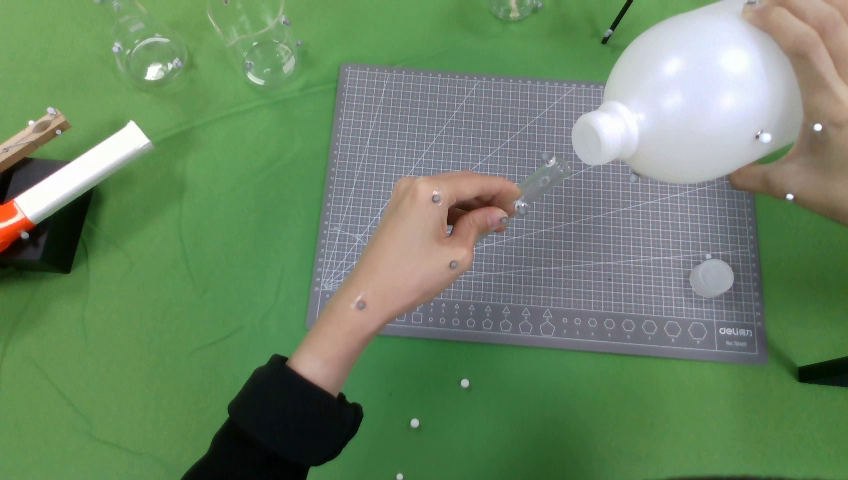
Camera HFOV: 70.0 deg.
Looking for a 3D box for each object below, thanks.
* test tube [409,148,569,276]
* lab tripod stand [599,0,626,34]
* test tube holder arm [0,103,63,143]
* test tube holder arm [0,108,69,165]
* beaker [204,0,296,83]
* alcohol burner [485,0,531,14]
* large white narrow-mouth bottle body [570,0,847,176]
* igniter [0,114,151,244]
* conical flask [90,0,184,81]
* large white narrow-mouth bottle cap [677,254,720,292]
[{"bbox_3d":[0.039,-0.014,0.419,0.017,0.150,0.017,28,42,-28],"label":"test tube"},{"bbox_3d":[0.267,-0.288,0.642,0.148,0.132,0.147,1,72,-2],"label":"lab tripod stand"},{"bbox_3d":[-0.421,-0.072,0.570,0.178,0.015,0.013,-39,78,-13],"label":"test tube holder arm"},{"bbox_3d":[-0.383,-0.095,0.579,0.088,0.015,0.010,-38,77,-12],"label":"test tube holder arm"},{"bbox_3d":[-0.176,-0.215,0.628,0.074,0.101,0.083,19,74,5],"label":"beaker"},{"bbox_3d":[0.098,-0.303,0.653,0.078,0.120,0.077,1,71,-2],"label":"alcohol burner"},{"bbox_3d":[0.174,-0.096,0.376,0.195,0.102,0.101,-25,74,-19],"label":"large white narrow-mouth bottle body"},{"bbox_3d":[-0.379,-0.026,0.555,0.276,0.025,0.057,-39,80,-15],"label":"igniter"},{"bbox_3d":[-0.302,-0.224,0.615,0.075,0.122,0.075,0,72,-1],"label":"conical flask"},{"bbox_3d":[0.273,0.033,0.602,0.038,0.024,0.037,0,74,-1],"label":"large white narrow-mouth bottle cap"}]
